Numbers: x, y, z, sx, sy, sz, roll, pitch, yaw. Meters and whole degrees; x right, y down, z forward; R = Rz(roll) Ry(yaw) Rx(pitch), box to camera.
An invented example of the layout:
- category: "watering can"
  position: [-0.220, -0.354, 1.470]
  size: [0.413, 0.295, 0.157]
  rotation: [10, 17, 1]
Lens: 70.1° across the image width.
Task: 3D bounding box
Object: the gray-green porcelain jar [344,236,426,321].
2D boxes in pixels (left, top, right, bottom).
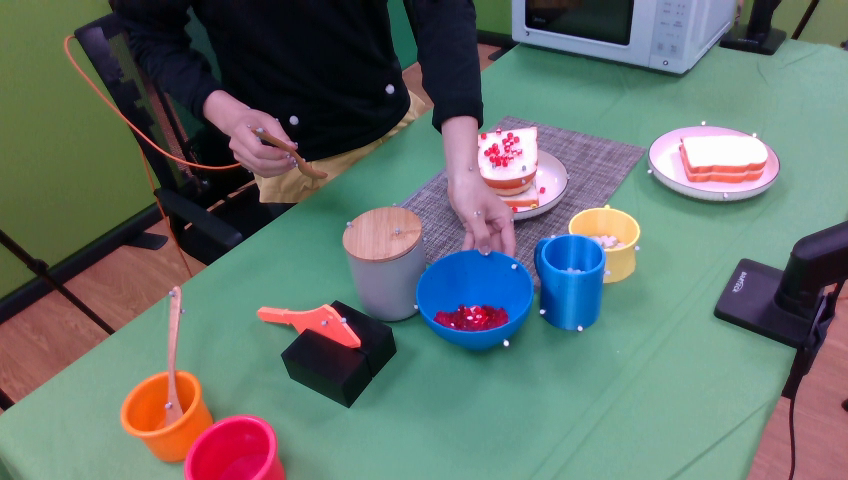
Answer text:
- category: "gray-green porcelain jar"
  position: [-0.050, 0.042, 0.849]
  size: [0.106, 0.127, 0.105]
  rotation: [-4, 40, 4]

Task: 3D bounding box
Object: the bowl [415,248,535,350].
- category: "bowl"
  position: [0.068, 0.088, 0.780]
  size: [0.151, 0.077, 0.150]
  rotation: [-5, 41, 4]

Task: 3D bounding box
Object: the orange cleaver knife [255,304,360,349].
- category: "orange cleaver knife"
  position: [-0.161, 0.115, 0.813]
  size: [0.210, 0.077, 0.012]
  rotation: [-4, 32, 47]

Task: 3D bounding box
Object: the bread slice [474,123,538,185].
- category: "bread slice"
  position: [0.141, -0.144, 1.009]
  size: [0.107, 0.018, 0.133]
  rotation: [-9, 47, 8]

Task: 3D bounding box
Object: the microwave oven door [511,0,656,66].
- category: "microwave oven door"
  position: [0.351, -0.539, 1.348]
  size: [0.353, 0.245, 0.039]
  rotation: [24, 50, 31]

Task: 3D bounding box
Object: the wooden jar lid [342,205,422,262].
- category: "wooden jar lid"
  position: [-0.055, -0.005, 0.808]
  size: [0.108, 0.021, 0.108]
  rotation: [-6, 40, 6]

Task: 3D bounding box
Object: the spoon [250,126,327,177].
- category: "spoon"
  position: [-0.189, -0.123, 0.850]
  size: [0.041, 0.195, 0.021]
  rotation: [19, 81, 20]

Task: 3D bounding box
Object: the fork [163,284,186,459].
- category: "fork"
  position: [-0.302, 0.157, 0.733]
  size: [0.028, 0.019, 0.207]
  rotation: [-3, 84, 15]

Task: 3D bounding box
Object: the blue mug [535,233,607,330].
- category: "blue mug"
  position: [0.191, 0.048, 0.824]
  size: [0.082, 0.106, 0.115]
  rotation: [-26, 44, -20]

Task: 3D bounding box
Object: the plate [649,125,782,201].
- category: "plate"
  position: [0.493, -0.127, 1.036]
  size: [0.207, 0.039, 0.206]
  rotation: [-4, 41, 4]

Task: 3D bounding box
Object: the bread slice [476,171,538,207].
- category: "bread slice"
  position: [0.143, -0.104, 1.058]
  size: [0.105, 0.019, 0.131]
  rotation: [0, 44, 5]

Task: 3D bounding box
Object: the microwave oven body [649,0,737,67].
- category: "microwave oven body"
  position: [0.475, -0.602, 1.411]
  size: [0.438, 0.261, 0.327]
  rotation: [23, 50, 32]

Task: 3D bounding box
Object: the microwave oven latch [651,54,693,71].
- category: "microwave oven latch"
  position: [0.532, -0.386, 1.301]
  size: [0.078, 0.029, 0.030]
  rotation: [27, 52, 34]

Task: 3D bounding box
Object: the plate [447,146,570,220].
- category: "plate"
  position: [0.145, -0.098, 1.046]
  size: [0.209, 0.038, 0.208]
  rotation: [-4, 40, 4]

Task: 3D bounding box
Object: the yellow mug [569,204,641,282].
- category: "yellow mug"
  position: [0.268, -0.004, 0.904]
  size: [0.099, 0.064, 0.130]
  rotation: [6, 41, 15]
